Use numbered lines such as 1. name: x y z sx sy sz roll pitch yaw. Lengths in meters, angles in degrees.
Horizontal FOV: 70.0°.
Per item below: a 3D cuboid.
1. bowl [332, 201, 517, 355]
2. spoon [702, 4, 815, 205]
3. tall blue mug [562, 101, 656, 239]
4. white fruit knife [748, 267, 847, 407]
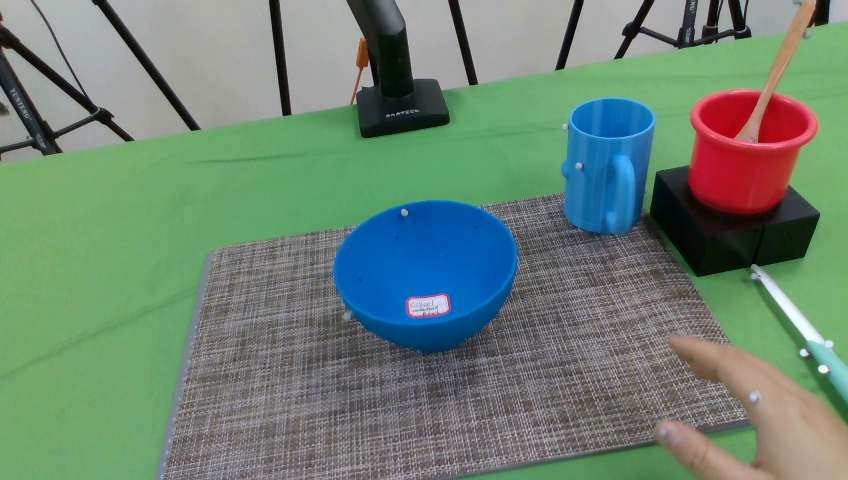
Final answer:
1. bowl: 0.004 0.044 0.511 0.151 0.077 0.150 -5 40 4
2. spoon: 0.299 -0.119 0.530 0.041 0.022 0.194 26 95 36
3. tall blue mug: 0.185 -0.060 0.579 0.078 0.109 0.106 -23 42 -17
4. white fruit knife: 0.306 0.088 0.465 0.027 0.016 0.205 12 34 -18
